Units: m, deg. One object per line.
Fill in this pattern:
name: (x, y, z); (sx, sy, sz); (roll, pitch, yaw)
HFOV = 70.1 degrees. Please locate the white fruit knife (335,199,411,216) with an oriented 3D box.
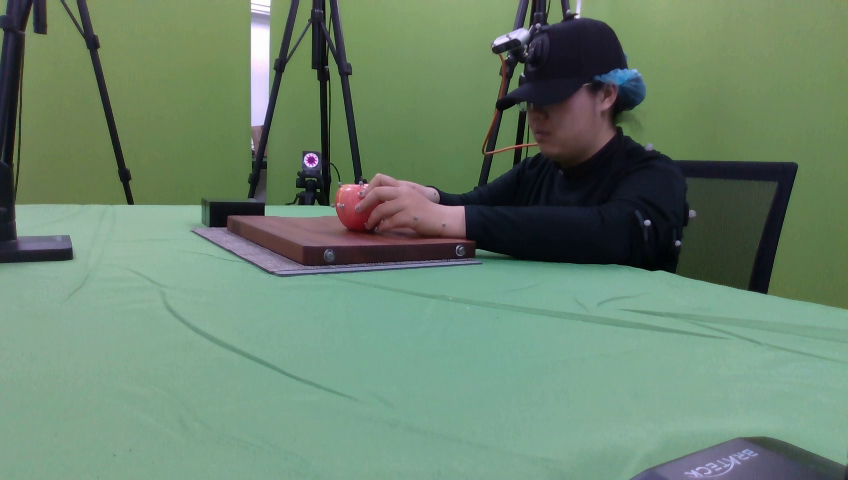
white fruit knife: (-0.080, -0.057, 1.016); (0.016, 0.027, 0.208); (6, 4, 31)

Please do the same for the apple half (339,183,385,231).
apple half: (-0.090, -0.050, 0.951); (0.053, 0.074, 0.081); (13, 8, 29)

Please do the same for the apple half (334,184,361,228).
apple half: (-0.124, -0.056, 0.976); (0.032, 0.081, 0.081); (8, 9, 31)
